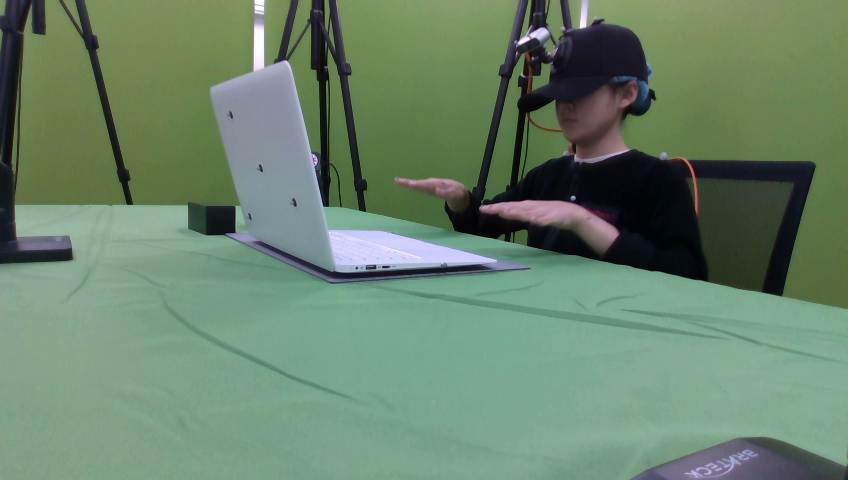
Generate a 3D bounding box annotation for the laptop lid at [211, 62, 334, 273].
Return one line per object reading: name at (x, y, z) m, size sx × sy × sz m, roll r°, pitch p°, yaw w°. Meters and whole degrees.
laptop lid at (-0.211, -0.095, 0.791) m, size 0.013 × 0.241 × 0.355 m, roll -18°, pitch 18°, yaw -29°

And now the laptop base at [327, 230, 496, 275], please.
laptop base at (-0.091, 0.016, 0.884) m, size 0.237 × 0.023 × 0.352 m, roll 2°, pitch 6°, yaw -32°

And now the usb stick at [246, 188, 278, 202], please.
usb stick at (-0.314, -0.086, 1.166) m, size 0.059 × 0.027 × 0.021 m, roll -4°, pitch 12°, yaw -32°
